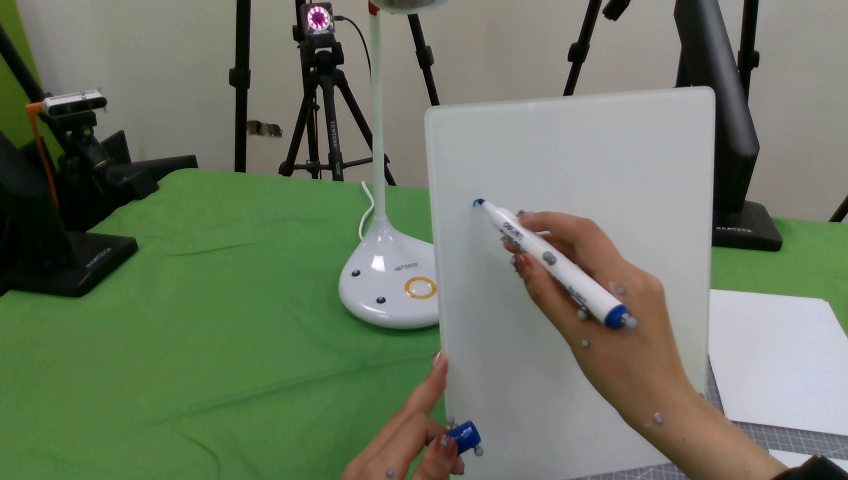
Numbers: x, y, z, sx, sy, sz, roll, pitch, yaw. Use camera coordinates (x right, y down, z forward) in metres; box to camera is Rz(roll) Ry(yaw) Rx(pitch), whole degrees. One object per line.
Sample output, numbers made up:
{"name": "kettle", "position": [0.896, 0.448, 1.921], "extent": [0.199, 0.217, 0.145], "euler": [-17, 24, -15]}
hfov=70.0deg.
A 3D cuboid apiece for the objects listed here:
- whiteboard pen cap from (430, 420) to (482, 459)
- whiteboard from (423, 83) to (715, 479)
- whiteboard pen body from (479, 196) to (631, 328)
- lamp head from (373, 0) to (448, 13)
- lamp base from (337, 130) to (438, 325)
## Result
{"name": "whiteboard pen cap", "position": [0.022, 0.130, 0.398], "extent": [0.033, 0.018, 0.018], "euler": [-31, 24, 20]}
{"name": "whiteboard", "position": [0.108, 0.031, 0.523], "extent": [0.217, 0.306, 0.143], "euler": [-6, 12, -7]}
{"name": "whiteboard pen body", "position": [0.076, 0.007, 0.383], "extent": [0.017, 0.017, 0.139], "euler": [-18, 42, -26]}
{"name": "lamp head", "position": [-0.020, -0.264, 0.492], "extent": [0.113, 0.113, 0.121], "euler": [-14, 58, -21]}
{"name": "lamp base", "position": [-0.030, -0.024, 0.682], "extent": [0.161, 0.181, 0.177], "euler": [-21, 34, -29]}
